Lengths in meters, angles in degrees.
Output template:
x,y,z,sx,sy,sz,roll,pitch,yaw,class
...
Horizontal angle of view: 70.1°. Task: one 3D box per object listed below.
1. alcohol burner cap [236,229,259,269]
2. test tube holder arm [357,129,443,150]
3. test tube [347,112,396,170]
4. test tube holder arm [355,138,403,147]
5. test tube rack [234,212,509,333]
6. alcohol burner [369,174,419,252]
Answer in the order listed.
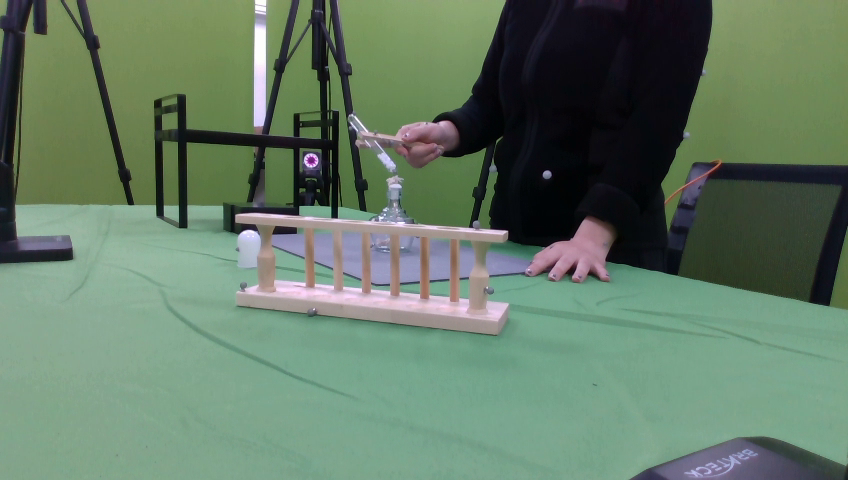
x,y,z,sx,sy,sz,roll,pitch,yaw,class
-0.221,0.010,0.759,0.034,0.048,0.034,-1,11,0,alcohol burner cap
-0.034,-0.164,0.995,0.179,0.013,0.015,-1,40,-43,test tube holder arm
-0.083,-0.156,0.947,0.017,0.017,0.149,-4,43,-39,test tube
-0.070,-0.158,0.968,0.088,0.010,0.015,-10,45,-36,test tube holder arm
-0.047,0.023,0.547,0.242,0.085,0.067,4,7,15,test tube rack
-0.047,-0.041,0.922,0.078,0.119,0.078,1,9,0,alcohol burner
